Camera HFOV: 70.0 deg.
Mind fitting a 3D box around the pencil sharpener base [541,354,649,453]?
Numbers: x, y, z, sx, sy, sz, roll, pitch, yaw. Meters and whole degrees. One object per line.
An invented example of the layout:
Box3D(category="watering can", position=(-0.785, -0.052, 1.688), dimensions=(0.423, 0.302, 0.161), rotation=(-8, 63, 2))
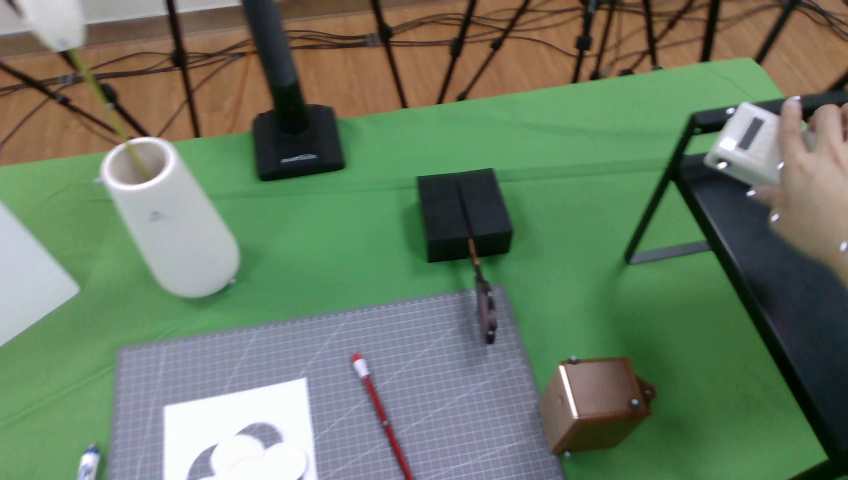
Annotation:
Box3D(category="pencil sharpener base", position=(0.167, 0.163, 0.600), dimensions=(0.077, 0.108, 0.060), rotation=(-4, 55, -7))

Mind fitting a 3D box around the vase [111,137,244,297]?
Box3D(category="vase", position=(-0.267, -0.020, 0.665), dimensions=(0.098, 0.202, 0.097), rotation=(0, 55, 1))

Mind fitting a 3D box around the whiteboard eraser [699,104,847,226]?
Box3D(category="whiteboard eraser", position=(0.283, -0.059, 0.478), dimensions=(0.112, 0.042, 0.055), rotation=(30, 85, 17))

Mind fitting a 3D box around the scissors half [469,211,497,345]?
Box3D(category="scissors half", position=(0.066, 0.040, 0.712), dimensions=(0.013, 0.040, 0.173), rotation=(-5, 65, -3))

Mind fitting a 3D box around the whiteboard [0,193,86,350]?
Box3D(category="whiteboard", position=(-0.560, -0.011, 0.628), dimensions=(0.217, 0.309, 0.142), rotation=(-40, 46, -23))

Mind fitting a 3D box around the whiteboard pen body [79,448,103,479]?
Box3D(category="whiteboard pen body", position=(-0.330, 0.269, 0.577), dimensions=(0.017, 0.017, 0.139), rotation=(-3, 54, -2))

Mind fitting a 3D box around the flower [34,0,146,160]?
Box3D(category="flower", position=(-0.276, -0.077, 0.603), dimensions=(0.044, 0.365, 0.038), rotation=(-15, 40, -7))

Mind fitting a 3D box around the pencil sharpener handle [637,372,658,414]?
Box3D(category="pencil sharpener handle", position=(0.219, 0.154, 0.595), dimensions=(0.031, 0.068, 0.035), rotation=(-4, 50, -7))

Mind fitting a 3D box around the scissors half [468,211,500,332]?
Box3D(category="scissors half", position=(0.066, 0.029, 0.695), dimensions=(0.013, 0.040, 0.173), rotation=(-2, 46, -8))

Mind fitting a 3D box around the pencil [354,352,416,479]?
Box3D(category="pencil", position=(-0.034, 0.201, 0.630), dimensions=(0.012, 0.012, 0.192), rotation=(-21, 60, -14))
